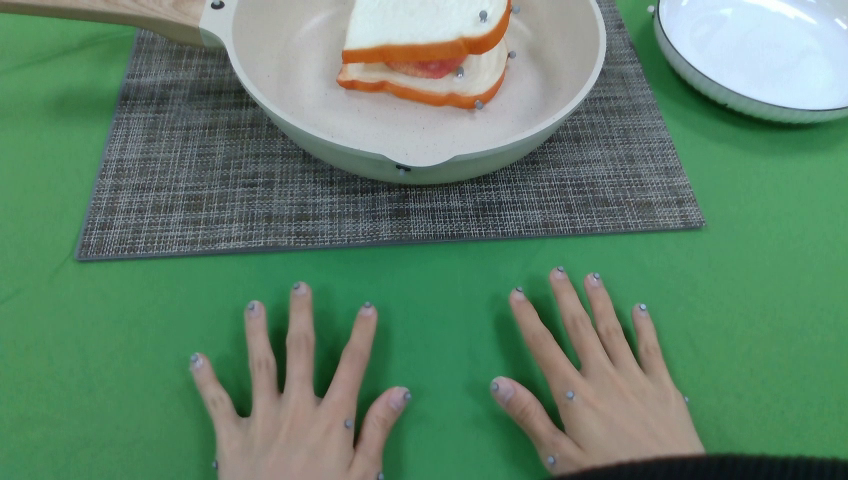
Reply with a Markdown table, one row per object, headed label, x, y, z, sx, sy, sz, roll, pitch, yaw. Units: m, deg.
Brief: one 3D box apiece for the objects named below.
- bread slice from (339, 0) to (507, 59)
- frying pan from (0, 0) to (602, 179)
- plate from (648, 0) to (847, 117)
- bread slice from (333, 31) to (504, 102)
| label | x | y | z | sx | sy | sz | roll | pitch | yaw |
| --- | --- | --- | --- | --- | --- | --- | --- | --- | --- |
| bread slice | 0.001 | -0.192 | 0.487 | 0.131 | 0.019 | 0.104 | 1 | 63 | 12 |
| frying pan | -0.111 | -0.171 | 0.476 | 0.489 | 0.103 | 0.304 | 6 | 56 | -9 |
| plate | 0.303 | -0.183 | 0.548 | 0.208 | 0.039 | 0.205 | 1 | 57 | -2 |
| bread slice | 0.001 | -0.163 | 0.522 | 0.134 | 0.018 | 0.106 | 10 | 58 | 4 |
